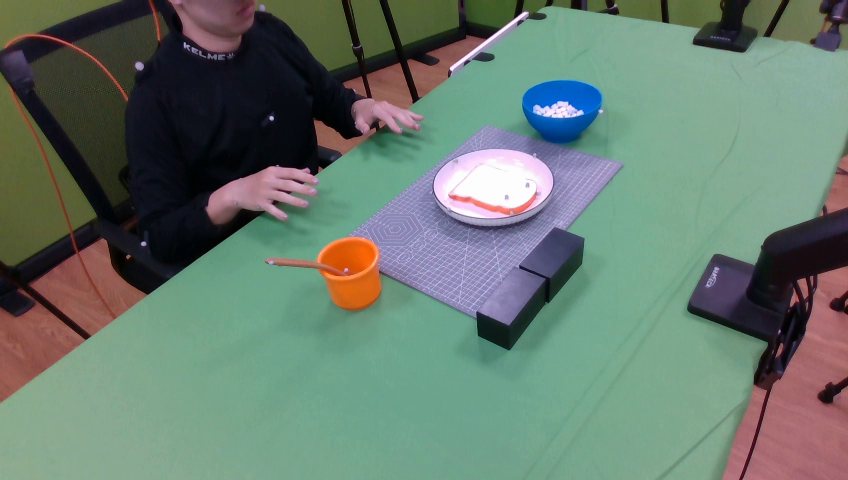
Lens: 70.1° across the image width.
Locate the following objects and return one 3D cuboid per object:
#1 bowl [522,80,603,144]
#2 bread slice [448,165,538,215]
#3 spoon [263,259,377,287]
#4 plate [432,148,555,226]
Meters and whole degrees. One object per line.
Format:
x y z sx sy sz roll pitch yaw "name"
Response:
0.264 -0.239 1.166 0.151 0.077 0.150 -4 41 4 "bowl"
0.126 -0.085 1.037 0.133 0.018 0.107 16 45 27 "bread slice"
-0.140 0.042 0.843 0.041 0.195 0.021 35 101 41 "spoon"
0.119 -0.087 1.037 0.209 0.038 0.208 -4 40 4 "plate"
